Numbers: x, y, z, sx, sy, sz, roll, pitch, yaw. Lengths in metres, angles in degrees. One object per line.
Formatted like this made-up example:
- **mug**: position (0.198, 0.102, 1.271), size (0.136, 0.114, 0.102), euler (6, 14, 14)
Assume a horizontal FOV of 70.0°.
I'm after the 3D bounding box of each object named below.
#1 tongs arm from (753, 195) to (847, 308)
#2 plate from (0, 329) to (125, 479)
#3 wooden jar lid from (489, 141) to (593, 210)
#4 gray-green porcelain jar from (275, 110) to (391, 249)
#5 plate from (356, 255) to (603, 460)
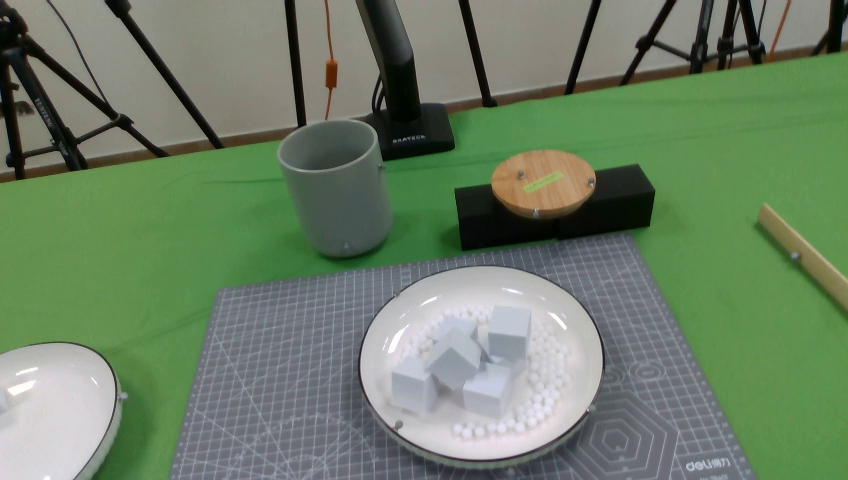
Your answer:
- **tongs arm**: position (0.400, 0.080, 0.498), size (0.028, 0.028, 0.383), euler (-13, 42, -7)
- **plate**: position (-0.359, 0.168, 0.520), size (0.207, 0.039, 0.205), euler (-5, 42, 5)
- **wooden jar lid**: position (0.123, -0.067, 0.639), size (0.108, 0.021, 0.107), euler (-4, 43, 4)
- **gray-green porcelain jar**: position (-0.094, -0.062, 0.664), size (0.106, 0.128, 0.105), euler (-5, 42, 5)
- **plate**: position (0.046, 0.097, 0.526), size (0.209, 0.038, 0.207), euler (-5, 42, 5)
